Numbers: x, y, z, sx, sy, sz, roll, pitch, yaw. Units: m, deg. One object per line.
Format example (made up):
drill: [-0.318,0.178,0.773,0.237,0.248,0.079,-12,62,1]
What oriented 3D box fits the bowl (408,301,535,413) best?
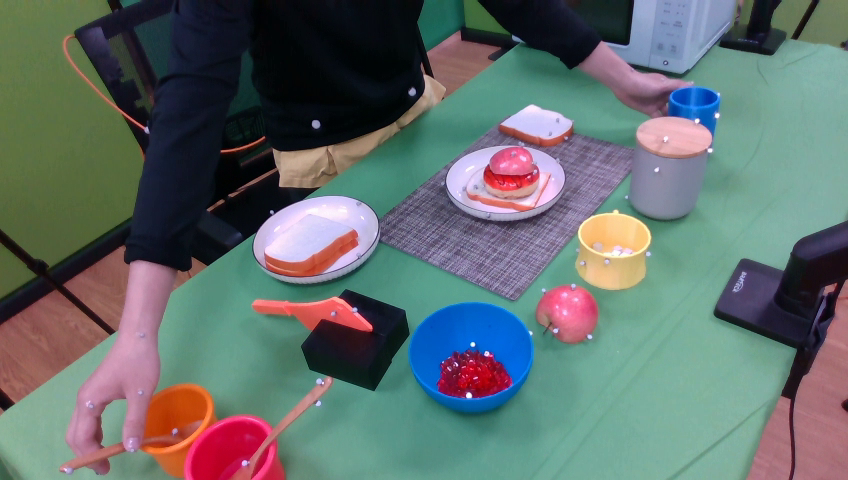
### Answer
bowl: [0.060,0.156,0.739,0.151,0.077,0.150,-4,40,4]

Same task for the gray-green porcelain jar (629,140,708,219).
gray-green porcelain jar: [0.383,-0.105,0.958,0.106,0.127,0.105,-4,41,4]

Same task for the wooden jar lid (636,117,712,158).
wooden jar lid: [0.377,-0.151,0.917,0.108,0.021,0.108,-2,41,3]

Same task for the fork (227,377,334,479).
fork: [-0.163,0.216,0.647,0.207,0.019,0.028,-49,41,16]

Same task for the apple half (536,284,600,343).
apple half: [0.196,0.091,0.815,0.075,0.053,0.080,-22,42,-20]

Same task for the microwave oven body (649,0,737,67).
microwave oven body: [0.475,-0.602,1.411,0.438,0.261,0.327,23,50,32]

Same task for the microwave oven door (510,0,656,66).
microwave oven door: [0.350,-0.539,1.348,0.353,0.245,0.039,24,50,31]

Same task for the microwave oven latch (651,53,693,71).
microwave oven latch: [0.532,-0.386,1.301,0.078,0.029,0.030,27,52,34]

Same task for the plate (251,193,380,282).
plate: [-0.174,-0.001,0.985,0.209,0.038,0.208,-4,41,4]

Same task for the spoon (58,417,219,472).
spoon: [-0.304,0.220,0.661,0.041,0.021,0.195,20,3,27]

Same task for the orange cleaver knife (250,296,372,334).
orange cleaver knife: [-0.159,0.103,0.828,0.210,0.078,0.012,-3,43,39]

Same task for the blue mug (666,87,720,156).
blue mug: [0.469,-0.214,1.081,0.082,0.106,0.116,-9,39,2]

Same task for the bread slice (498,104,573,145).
bread slice: [0.231,-0.231,1.205,0.105,0.019,0.130,-36,47,-29]

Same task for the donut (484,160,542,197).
donut: [0.149,-0.110,1.016,0.099,0.048,0.098,-4,41,4]

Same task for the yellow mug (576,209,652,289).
yellow mug: [0.279,0.004,0.893,0.099,0.064,0.130,5,42,14]

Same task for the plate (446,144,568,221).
plate: [0.142,-0.096,1.045,0.207,0.039,0.206,-4,40,4]

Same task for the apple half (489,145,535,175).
apple half: [0.145,-0.138,0.995,0.081,0.033,0.081,-2,34,2]

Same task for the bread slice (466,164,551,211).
bread slice: [0.140,-0.092,1.042,0.133,0.018,0.107,10,43,19]
